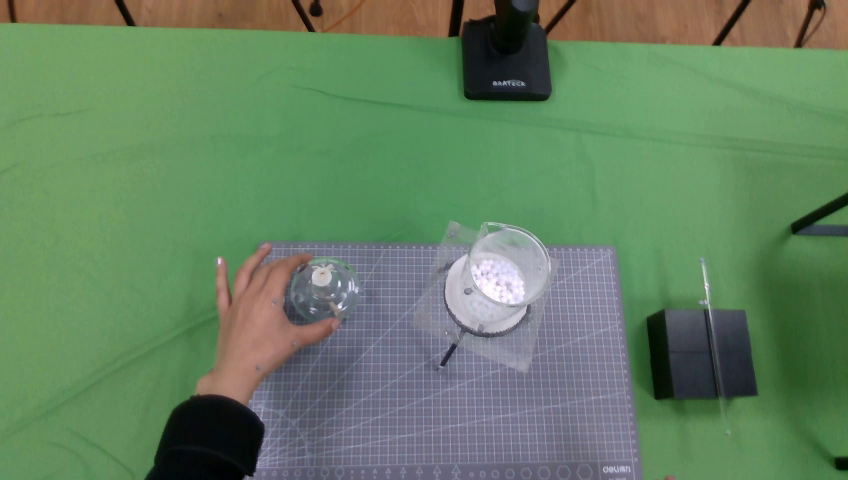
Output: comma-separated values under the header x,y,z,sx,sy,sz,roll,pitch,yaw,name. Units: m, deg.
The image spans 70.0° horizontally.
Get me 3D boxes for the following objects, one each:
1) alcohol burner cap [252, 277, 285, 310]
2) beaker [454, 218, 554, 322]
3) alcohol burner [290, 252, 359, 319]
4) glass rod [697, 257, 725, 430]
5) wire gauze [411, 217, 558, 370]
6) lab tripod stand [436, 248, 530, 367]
x,y,z,sx,sy,sz,roll,pitch,yaw,name
-0.180,0.060,0.697,0.034,0.048,0.033,1,70,-1,alcohol burner cap
0.067,0.032,0.562,0.074,0.100,0.083,-23,75,-13,beaker
-0.111,0.047,0.670,0.078,0.119,0.077,2,72,-6,alcohol burner
0.331,0.116,0.698,0.008,0.008,0.198,2,73,-4,glass rod
0.062,0.050,0.607,0.125,0.011,0.121,22,73,-1,wire gauze
0.061,0.069,0.669,0.148,0.132,0.147,2,70,-5,lab tripod stand
